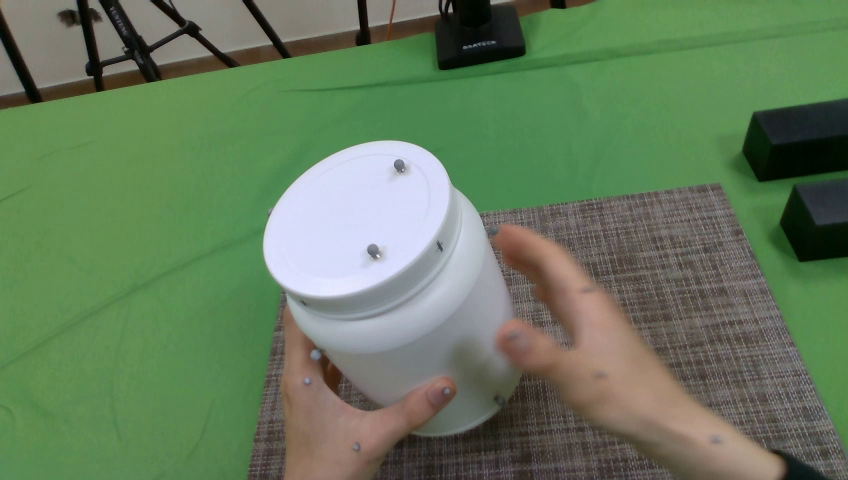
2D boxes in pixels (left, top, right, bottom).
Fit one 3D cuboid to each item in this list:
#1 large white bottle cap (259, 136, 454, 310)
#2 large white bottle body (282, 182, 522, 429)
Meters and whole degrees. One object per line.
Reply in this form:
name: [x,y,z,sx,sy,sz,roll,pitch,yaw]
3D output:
large white bottle cap: [-0.040,-0.013,0.345,0.114,0.018,0.113,-11,50,14]
large white bottle body: [-0.014,0.035,0.409,0.130,0.186,0.129,-11,51,14]
